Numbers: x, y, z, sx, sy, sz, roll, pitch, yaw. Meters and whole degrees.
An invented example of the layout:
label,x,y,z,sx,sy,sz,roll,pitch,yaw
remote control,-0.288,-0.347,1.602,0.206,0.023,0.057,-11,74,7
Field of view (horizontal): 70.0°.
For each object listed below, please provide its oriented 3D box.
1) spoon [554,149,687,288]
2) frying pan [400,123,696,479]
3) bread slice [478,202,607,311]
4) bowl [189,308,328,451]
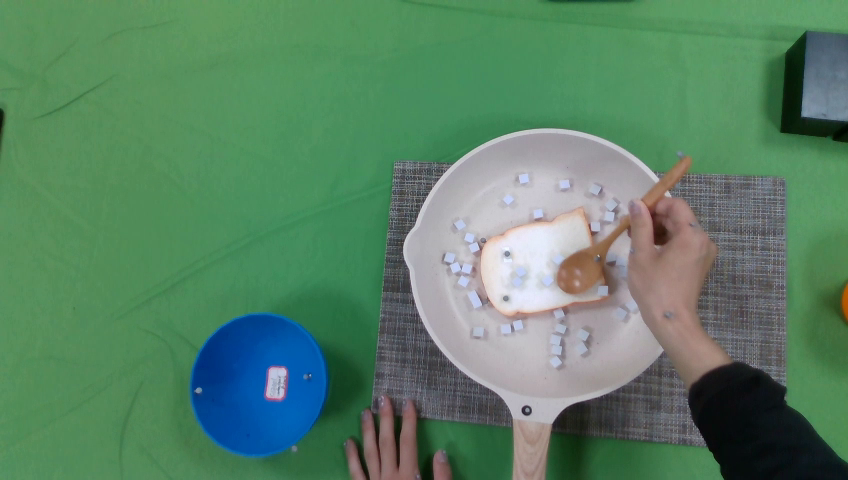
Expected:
label,x,y,z,sx,sy,sz,roll,pitch,yaw
spoon,0.197,-0.017,0.616,0.041,0.022,0.194,48,131,16
frying pan,0.115,0.119,0.636,0.306,0.103,0.485,6,74,8
bread slice,0.129,0.026,0.688,0.134,0.018,0.106,-17,80,1
bowl,-0.174,0.153,0.680,0.151,0.077,0.151,-1,82,6
